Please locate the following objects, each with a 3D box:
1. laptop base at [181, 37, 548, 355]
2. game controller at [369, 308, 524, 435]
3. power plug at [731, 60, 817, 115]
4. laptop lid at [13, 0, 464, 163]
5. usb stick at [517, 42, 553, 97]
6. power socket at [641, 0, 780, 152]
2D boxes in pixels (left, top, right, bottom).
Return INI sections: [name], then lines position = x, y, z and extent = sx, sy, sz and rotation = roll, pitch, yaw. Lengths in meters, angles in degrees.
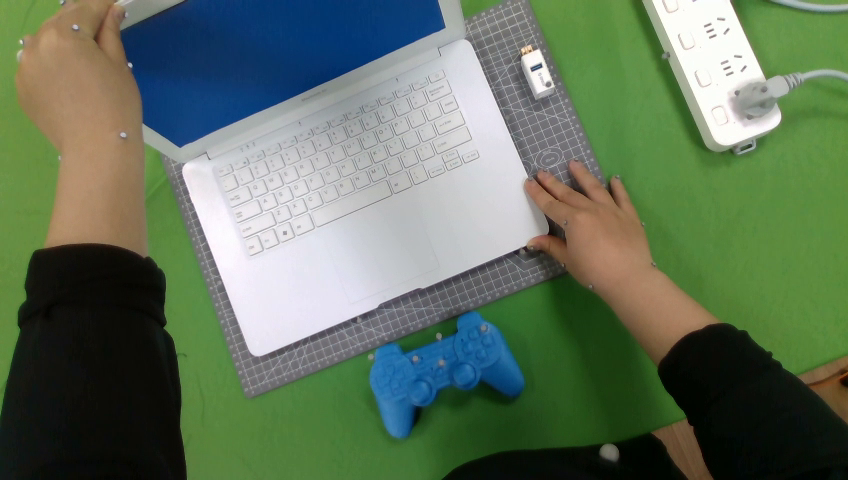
[laptop base]
position = -0.071, -0.047, 0.663
extent = 0.354, 0.023, 0.235
rotation = -23, 87, 5
[game controller]
position = 0.017, 0.135, 0.627
extent = 0.155, 0.052, 0.096
rotation = -22, 79, 5
[power plug]
position = 0.338, -0.143, 0.591
extent = 0.072, 0.053, 0.035
rotation = -10, 84, 2
[laptop lid]
position = -0.140, -0.182, 0.562
extent = 0.356, 0.243, 0.013
rotation = -24, 73, 7
[usb stick]
position = 0.115, -0.184, 0.641
extent = 0.021, 0.027, 0.059
rotation = -24, 81, 9
[power socket]
position = 0.287, -0.200, 0.620
extent = 0.072, 0.033, 0.226
rotation = -21, 84, 6
